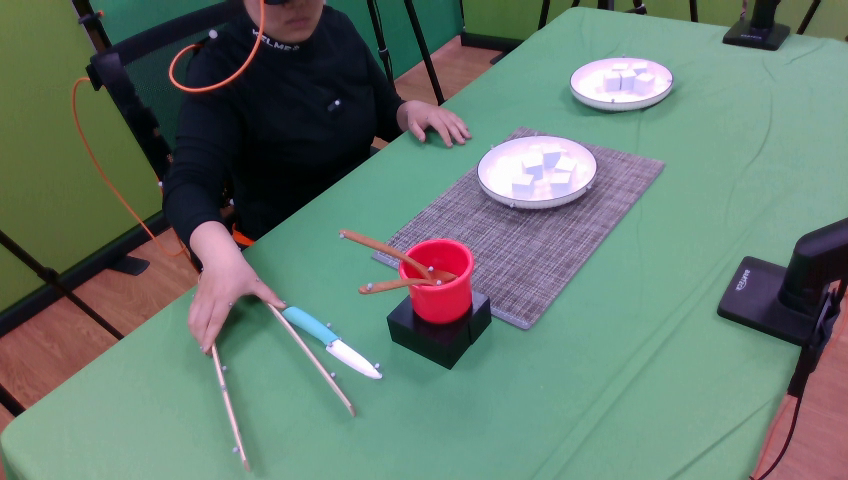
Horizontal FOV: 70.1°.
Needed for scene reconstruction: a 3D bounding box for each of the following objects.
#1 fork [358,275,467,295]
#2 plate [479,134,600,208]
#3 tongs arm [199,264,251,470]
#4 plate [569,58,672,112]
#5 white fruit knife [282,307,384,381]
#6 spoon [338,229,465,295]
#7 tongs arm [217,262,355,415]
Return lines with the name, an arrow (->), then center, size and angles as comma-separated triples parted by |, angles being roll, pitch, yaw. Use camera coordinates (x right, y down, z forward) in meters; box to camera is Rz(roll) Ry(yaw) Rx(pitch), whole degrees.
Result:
fork -> -0.009, 0.056, 0.739 | 0.028, 0.018, 0.209 | 48, 23, 26
plate -> 0.202, -0.117, 1.065 | 0.207, 0.039, 0.206 | -5, 40, 5
tongs arm -> -0.270, 0.154, 0.841 | 0.051, 0.026, 0.381 | -24, 40, -16
plate -> 0.411, -0.323, 1.274 | 0.209, 0.038, 0.208 | -5, 41, 5
white fruit knife -> -0.130, 0.143, 0.845 | 0.205, 0.016, 0.027 | 27, 80, 33
spoon -> -0.025, 0.026, 0.776 | 0.021, 0.195, 0.041 | -41, 34, 32
tongs arm -> -0.207, 0.125, 0.866 | 0.028, 0.028, 0.384 | -34, 45, -22
